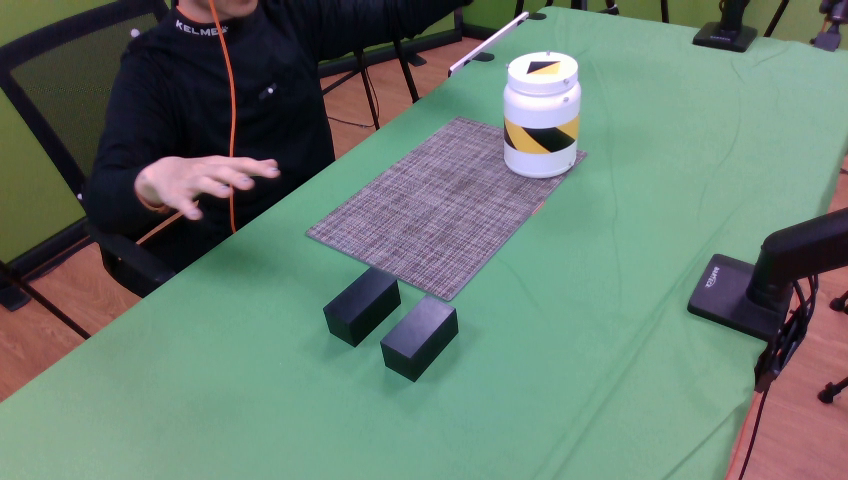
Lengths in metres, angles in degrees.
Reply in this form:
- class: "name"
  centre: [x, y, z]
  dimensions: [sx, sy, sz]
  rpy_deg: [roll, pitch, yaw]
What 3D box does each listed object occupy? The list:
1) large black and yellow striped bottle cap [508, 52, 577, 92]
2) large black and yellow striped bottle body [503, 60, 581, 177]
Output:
- class: "large black and yellow striped bottle cap"
  centre: [0.197, -0.281, 1.008]
  dimensions: [0.115, 0.019, 0.114]
  rpy_deg: [-4, 42, 4]
- class: "large black and yellow striped bottle body"
  centre: [0.206, -0.218, 1.061]
  dimensions: [0.131, 0.185, 0.130]
  rpy_deg: [-4, 41, 4]
